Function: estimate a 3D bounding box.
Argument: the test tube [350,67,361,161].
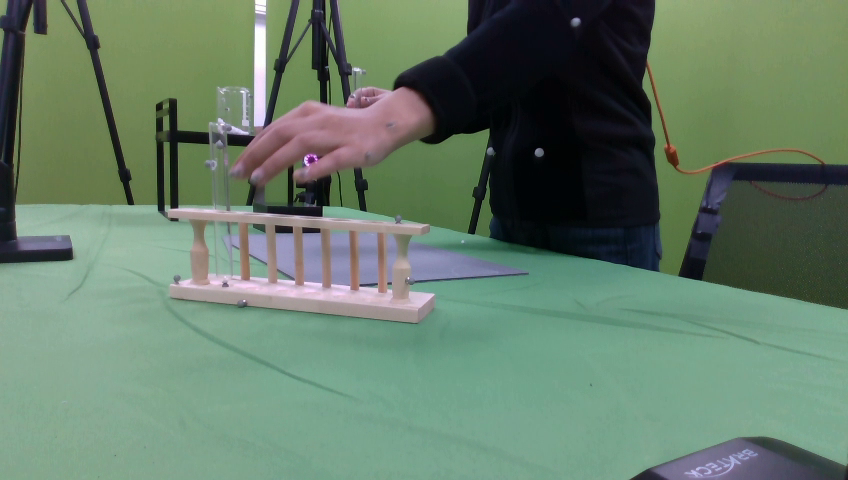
[{"bbox_3d":[-0.111,-0.204,0.983,0.017,0.150,0.017,0,7,0],"label":"test tube"}]

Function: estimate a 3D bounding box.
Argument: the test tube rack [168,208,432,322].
[{"bbox_3d":[-0.116,0.018,0.574,0.242,0.085,0.067,4,7,13],"label":"test tube rack"}]

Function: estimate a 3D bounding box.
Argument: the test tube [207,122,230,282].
[{"bbox_3d":[-0.192,-0.034,0.565,0.017,0.150,0.017,1,11,0],"label":"test tube"}]

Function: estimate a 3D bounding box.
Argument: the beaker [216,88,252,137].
[{"bbox_3d":[-0.413,-0.276,1.310,0.074,0.100,0.084,4,8,16],"label":"beaker"}]
